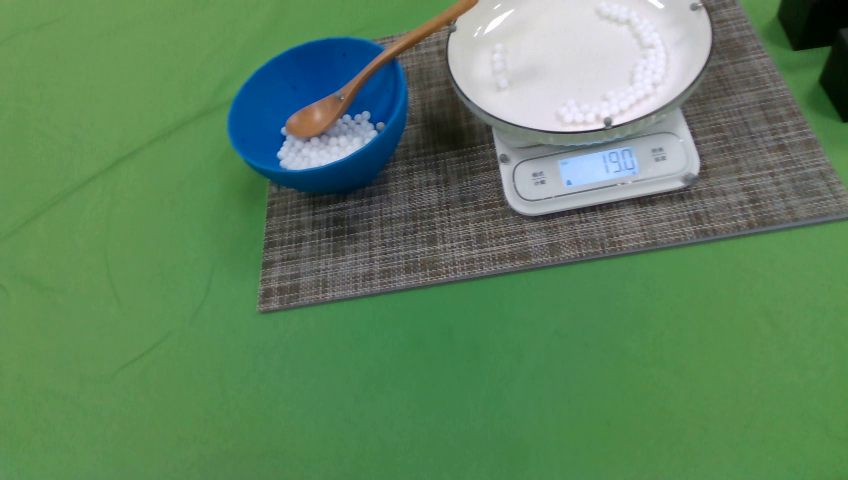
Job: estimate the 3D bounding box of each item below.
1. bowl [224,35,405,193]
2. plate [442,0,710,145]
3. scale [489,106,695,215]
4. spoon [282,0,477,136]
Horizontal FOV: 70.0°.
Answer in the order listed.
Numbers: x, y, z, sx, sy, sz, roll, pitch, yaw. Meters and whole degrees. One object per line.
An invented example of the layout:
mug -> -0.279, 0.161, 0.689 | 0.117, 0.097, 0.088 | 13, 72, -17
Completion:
bowl -> -0.082, -0.093, 0.516 | 0.151, 0.077, 0.150 | -6, 57, 10
plate -> 0.119, -0.154, 0.495 | 0.209, 0.038, 0.207 | -6, 57, 9
scale -> 0.127, -0.118, 0.510 | 0.148, 0.032, 0.199 | -10, 57, 7
spoon -> -0.039, -0.142, 0.496 | 0.194, 0.022, 0.041 | -33, 46, 19
